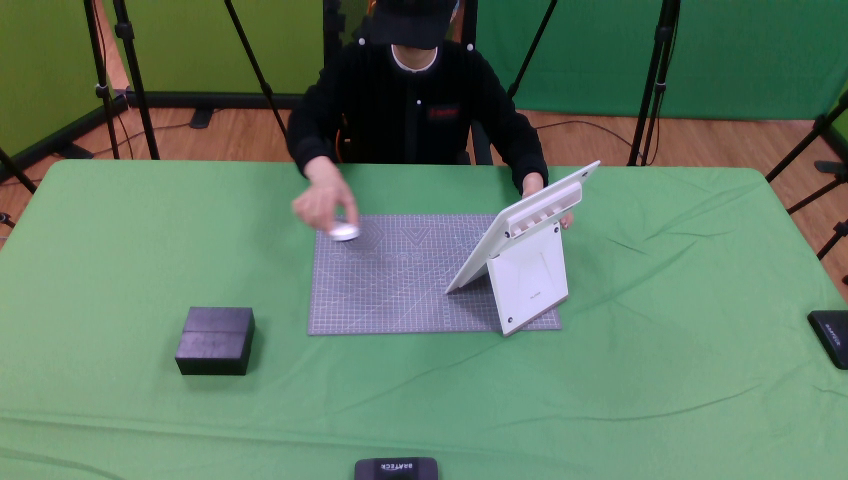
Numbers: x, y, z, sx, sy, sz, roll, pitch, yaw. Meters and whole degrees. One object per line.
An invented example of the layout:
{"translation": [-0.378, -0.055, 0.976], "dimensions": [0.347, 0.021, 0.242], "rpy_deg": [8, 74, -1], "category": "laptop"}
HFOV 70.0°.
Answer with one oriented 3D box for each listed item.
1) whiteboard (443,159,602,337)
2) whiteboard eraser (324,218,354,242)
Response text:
{"translation": [0.193, 0.036, 1.018], "dimensions": [0.217, 0.306, 0.143], "rpy_deg": [-26, 72, -26], "category": "whiteboard"}
{"translation": [-0.150, -0.019, 1.061], "dimensions": [0.041, 0.019, 0.101], "rpy_deg": [-10, 19, -16], "category": "whiteboard eraser"}
